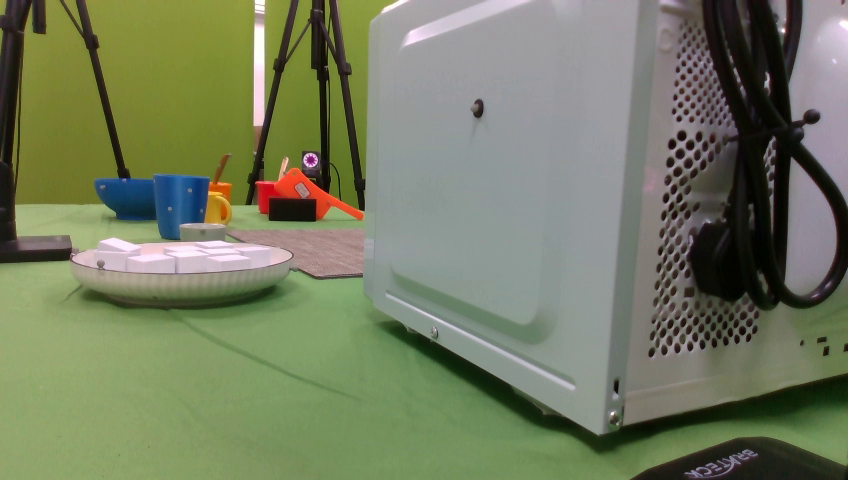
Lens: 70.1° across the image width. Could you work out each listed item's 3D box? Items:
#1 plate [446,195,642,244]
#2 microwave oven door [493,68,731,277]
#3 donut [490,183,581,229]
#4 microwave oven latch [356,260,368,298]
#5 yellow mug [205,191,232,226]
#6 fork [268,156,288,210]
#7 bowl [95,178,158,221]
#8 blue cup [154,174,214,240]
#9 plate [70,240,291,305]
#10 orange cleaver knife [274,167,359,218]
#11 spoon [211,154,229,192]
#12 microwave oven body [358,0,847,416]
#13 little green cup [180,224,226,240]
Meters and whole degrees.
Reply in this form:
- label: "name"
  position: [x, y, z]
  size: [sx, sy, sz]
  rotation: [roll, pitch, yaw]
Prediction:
- label: "plate"
  position: [0.125, -0.023, 0.653]
  size: [0.209, 0.038, 0.209]
  rotation: [5, 4, 0]
- label: "microwave oven door"
  position: [0.232, -0.098, 0.836]
  size: [0.039, 0.243, 0.354]
  rotation: [-3, 9, -36]
- label: "donut"
  position: [0.120, -0.035, 0.654]
  size: [0.099, 0.048, 0.099]
  rotation: [9, 6, -1]
- label: "microwave oven latch"
  position: [-0.020, 0.033, 0.529]
  size: [0.079, 0.029, 0.030]
  rotation: [0, 7, -24]
- label: "yellow mug"
  position: [-0.415, -0.057, 1.131]
  size: [0.130, 0.064, 0.100]
  rotation: [6, 8, 17]
- label: "fork"
  position: [-0.360, -0.144, 1.508]
  size: [0.028, 0.018, 0.207]
  rotation: [1, 49, 0]
- label: "bowl"
  position: [-0.576, -0.081, 1.217]
  size: [0.151, 0.077, 0.151]
  rotation: [3, 8, 0]
- label: "blue cup"
  position: [-0.391, -0.053, 0.978]
  size: [0.093, 0.100, 0.092]
  rotation: [3, 6, 0]
- label: "plate"
  position: [-0.242, 0.031, 0.618]
  size: [0.208, 0.039, 0.207]
  rotation: [2, 8, 0]
- label: "orange cleaver knife"
  position: [-0.238, -0.091, 1.381]
  size: [0.212, 0.077, 0.012]
  rotation: [31, 0, -19]
- label: "spoon"
  position: [-0.431, -0.115, 1.253]
  size: [0.042, 0.193, 0.021]
  rotation: [-3, 54, -33]
- label: "microwave oven body"
  position: [0.211, -0.047, 0.474]
  size: [0.444, 0.260, 0.324]
  rotation: [-1, 7, -28]
- label: "little green cup"
  position: [-0.309, -0.001, 0.846]
  size: [0.061, 0.038, 0.061]
  rotation: [2, 8, 0]
